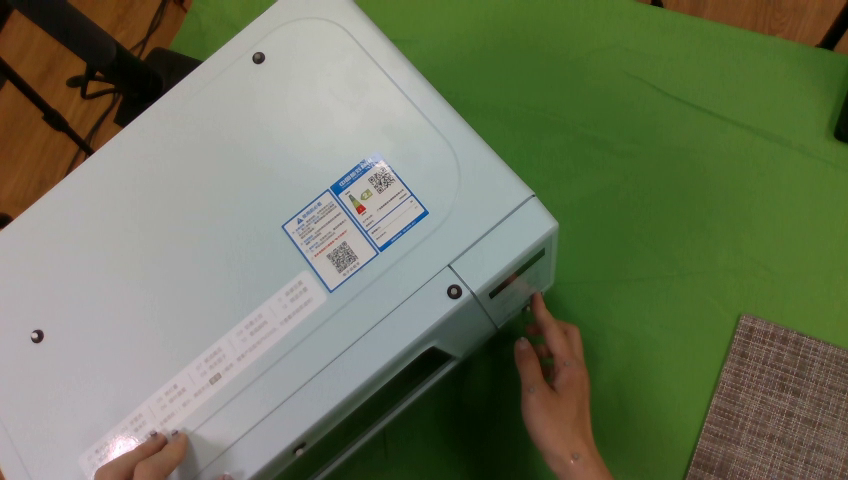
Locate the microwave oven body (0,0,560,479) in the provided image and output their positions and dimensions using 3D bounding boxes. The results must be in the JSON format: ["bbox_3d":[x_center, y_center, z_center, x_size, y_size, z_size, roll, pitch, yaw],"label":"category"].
[{"bbox_3d":[-0.144,0.035,0.579,0.441,0.262,0.324,-40,73,0],"label":"microwave oven body"}]

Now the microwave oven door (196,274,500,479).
[{"bbox_3d":[-0.088,0.167,0.530,0.356,0.245,0.039,-40,71,-1],"label":"microwave oven door"}]

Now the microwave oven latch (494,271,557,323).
[{"bbox_3d":[0.101,0.052,0.628,0.079,0.030,0.030,-37,73,1],"label":"microwave oven latch"}]
